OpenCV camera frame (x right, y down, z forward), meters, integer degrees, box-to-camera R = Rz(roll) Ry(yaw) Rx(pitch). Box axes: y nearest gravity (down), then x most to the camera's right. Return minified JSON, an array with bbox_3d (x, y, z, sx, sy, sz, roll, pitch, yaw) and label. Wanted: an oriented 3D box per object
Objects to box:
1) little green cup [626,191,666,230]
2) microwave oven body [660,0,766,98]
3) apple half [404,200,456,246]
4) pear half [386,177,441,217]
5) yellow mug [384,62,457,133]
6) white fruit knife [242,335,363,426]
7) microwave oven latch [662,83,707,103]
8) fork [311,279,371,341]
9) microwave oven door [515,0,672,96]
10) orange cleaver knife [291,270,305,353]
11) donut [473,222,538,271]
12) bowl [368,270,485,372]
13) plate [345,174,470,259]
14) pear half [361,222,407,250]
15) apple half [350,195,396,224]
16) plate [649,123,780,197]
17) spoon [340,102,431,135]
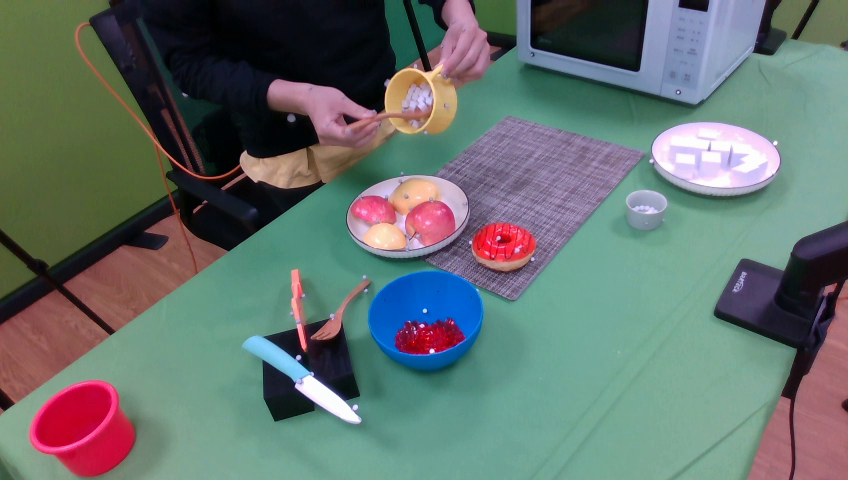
[{"bbox_3d":[0.352,-0.046,0.963,0.061,0.039,0.061,-4,40,4],"label":"little green cup"},{"bbox_3d":[0.472,-0.513,1.317,0.438,0.261,0.327,26,51,34],"label":"microwave oven body"},{"bbox_3d":[0.009,-0.035,0.969,0.075,0.053,0.080,-27,40,-22],"label":"apple half"},{"bbox_3d":[-0.030,-0.079,1.033,0.109,0.056,0.076,-1,36,16],"label":"pear half"},{"bbox_3d":[0.003,-0.232,0.964,0.099,0.130,0.064,52,32,14],"label":"yellow mug"},{"bbox_3d":[-0.148,0.167,0.730,0.206,0.016,0.027,26,80,31],"label":"white fruit knife"},{"bbox_3d":[0.517,-0.296,1.204,0.078,0.029,0.030,28,52,35],"label":"microwave oven latch"},{"bbox_3d":[-0.108,0.092,0.832,0.028,0.019,0.207,-6,19,15],"label":"fork"},{"bbox_3d":[0.344,-0.455,1.259,0.353,0.245,0.039,26,51,33],"label":"microwave oven door"},{"bbox_3d":[-0.175,0.094,0.844,0.012,0.077,0.210,-11,14,-10],"label":"orange cleaver knife"},{"bbox_3d":[0.123,0.009,0.923,0.099,0.048,0.098,-3,38,3],"label":"donut"},{"bbox_3d":[0.007,0.118,0.791,0.151,0.077,0.150,-5,40,4],"label":"bowl"},{"bbox_3d":[-0.026,-0.037,1.004,0.209,0.038,0.208,-4,40,4],"label":"plate"},{"bbox_3d":[-0.063,-0.012,0.958,0.071,0.031,0.087,2,25,-25],"label":"pear half"},{"bbox_3d":[-0.081,-0.056,1.008,0.081,0.033,0.081,11,24,-4],"label":"apple half"},{"bbox_3d":[0.497,-0.135,1.046,0.207,0.039,0.206,-4,40,4],"label":"plate"},{"bbox_3d":[-0.057,-0.186,0.917,0.041,0.022,0.195,21,30,34],"label":"spoon"}]
